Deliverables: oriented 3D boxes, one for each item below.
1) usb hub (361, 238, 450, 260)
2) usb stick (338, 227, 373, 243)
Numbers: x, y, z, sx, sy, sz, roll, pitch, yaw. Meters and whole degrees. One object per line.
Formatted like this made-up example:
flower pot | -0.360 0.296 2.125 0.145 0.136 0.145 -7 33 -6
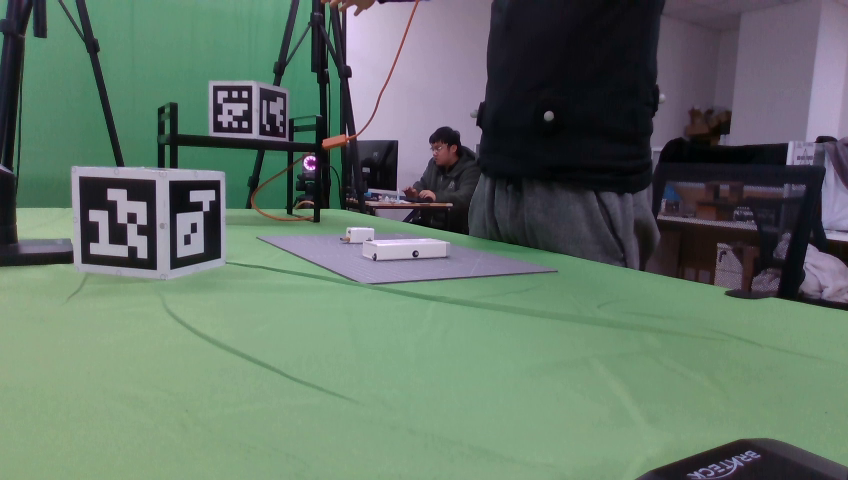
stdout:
usb hub | -0.026 0.013 0.894 0.126 0.025 0.049 -2 7 -31
usb stick | -0.118 -0.009 1.030 0.059 0.027 0.021 -3 11 -30
